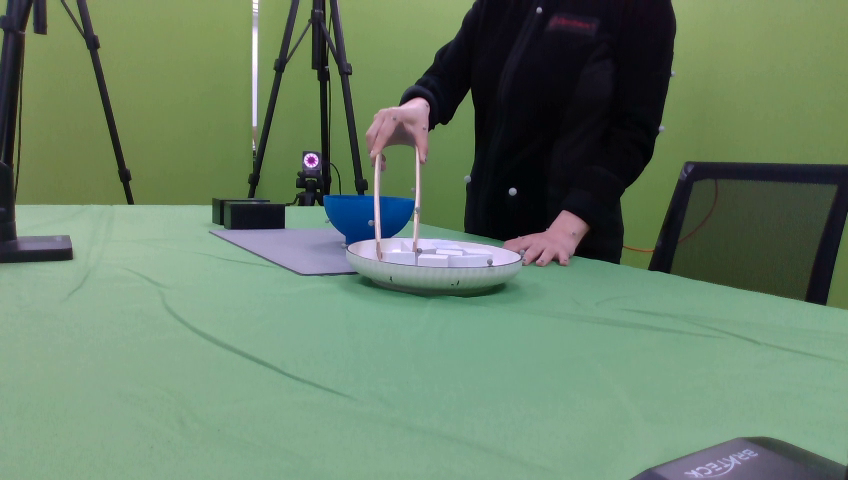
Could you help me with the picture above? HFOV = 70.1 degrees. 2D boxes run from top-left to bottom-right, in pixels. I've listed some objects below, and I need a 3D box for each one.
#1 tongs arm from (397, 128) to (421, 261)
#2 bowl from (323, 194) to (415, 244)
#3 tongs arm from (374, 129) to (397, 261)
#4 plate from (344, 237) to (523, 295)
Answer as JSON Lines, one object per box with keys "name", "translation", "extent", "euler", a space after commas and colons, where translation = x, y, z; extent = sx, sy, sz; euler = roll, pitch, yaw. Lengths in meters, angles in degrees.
{"name": "tongs arm", "translation": [-0.027, -0.079, 0.825], "extent": [0.051, 0.026, 0.384], "euler": [-1, 29, 3]}
{"name": "bowl", "translation": [-0.091, -0.032, 0.986], "extent": [0.151, 0.077, 0.151], "euler": [2, 7, 0]}
{"name": "tongs arm", "translation": [-0.052, -0.078, 0.825], "extent": [0.028, 0.028, 0.386], "euler": [-6, 29, 2]}
{"name": "plate", "translation": [0.010, 0.030, 0.706], "extent": [0.208, 0.039, 0.207], "euler": [3, 8, 0]}
